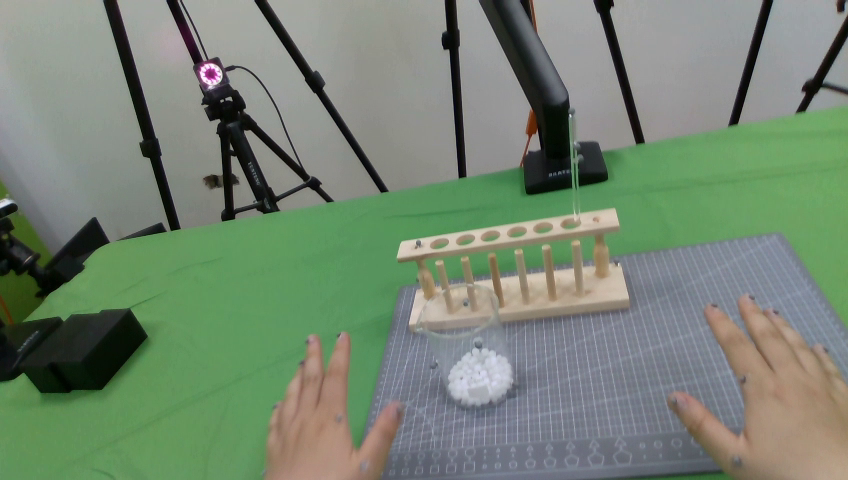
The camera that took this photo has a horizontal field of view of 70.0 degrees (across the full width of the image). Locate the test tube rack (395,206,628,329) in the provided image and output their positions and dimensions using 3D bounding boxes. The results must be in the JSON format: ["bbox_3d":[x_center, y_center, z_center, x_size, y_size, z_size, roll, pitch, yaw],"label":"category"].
[{"bbox_3d":[0.093,0.033,0.672,0.242,0.086,0.066,-9,32,14],"label":"test tube rack"}]

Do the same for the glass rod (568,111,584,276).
[{"bbox_3d":[0.158,-0.040,0.627,0.008,0.201,0.008,-9,35,7],"label":"glass rod"}]

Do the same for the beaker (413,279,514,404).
[{"bbox_3d":[0.041,0.100,0.576,0.084,0.101,0.073,-20,31,-3],"label":"beaker"}]
